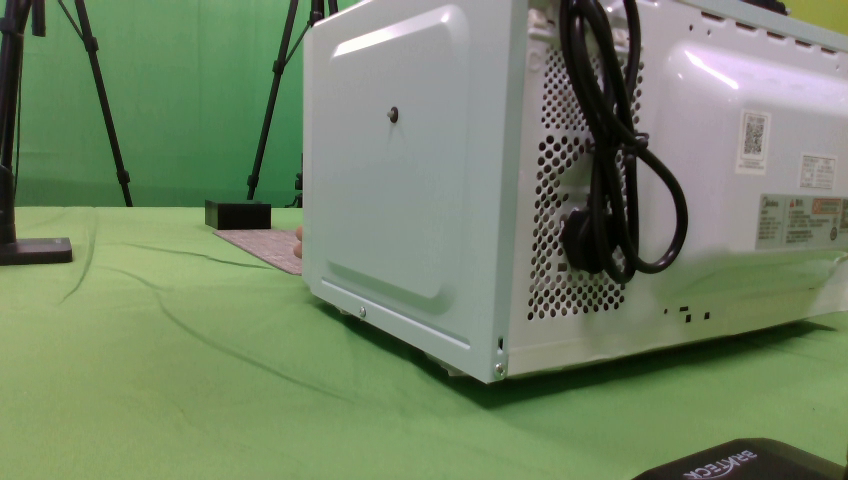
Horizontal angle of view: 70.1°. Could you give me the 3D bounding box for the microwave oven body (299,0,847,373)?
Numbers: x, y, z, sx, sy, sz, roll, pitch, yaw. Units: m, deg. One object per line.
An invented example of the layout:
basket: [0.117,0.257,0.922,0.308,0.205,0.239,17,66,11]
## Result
microwave oven body: [0.152,-0.055,0.542,0.444,0.260,0.324,-2,7,-32]

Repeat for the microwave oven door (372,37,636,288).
microwave oven door: [0.110,-0.080,0.686,0.358,0.243,0.039,-2,9,-33]

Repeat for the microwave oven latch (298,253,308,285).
microwave oven latch: [-0.081,0.027,0.583,0.079,0.029,0.030,-2,8,-33]
